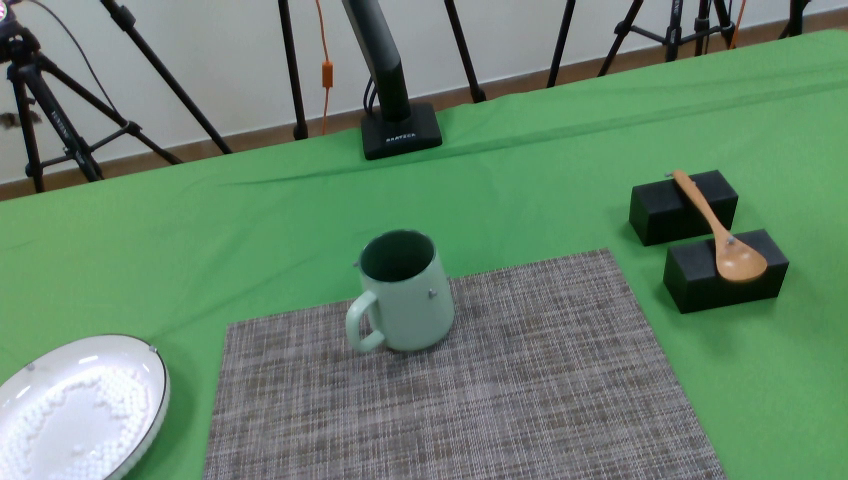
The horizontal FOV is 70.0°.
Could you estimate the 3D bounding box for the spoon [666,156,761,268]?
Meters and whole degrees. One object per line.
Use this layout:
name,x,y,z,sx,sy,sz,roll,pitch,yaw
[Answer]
spoon,0.291,-0.036,0.628,0.041,0.022,0.191,-22,41,15

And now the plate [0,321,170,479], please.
plate,-0.356,0.173,0.613,0.209,0.038,0.207,-6,43,6

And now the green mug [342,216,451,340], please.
green mug,-0.033,0.050,0.617,0.091,0.106,0.125,26,55,33
